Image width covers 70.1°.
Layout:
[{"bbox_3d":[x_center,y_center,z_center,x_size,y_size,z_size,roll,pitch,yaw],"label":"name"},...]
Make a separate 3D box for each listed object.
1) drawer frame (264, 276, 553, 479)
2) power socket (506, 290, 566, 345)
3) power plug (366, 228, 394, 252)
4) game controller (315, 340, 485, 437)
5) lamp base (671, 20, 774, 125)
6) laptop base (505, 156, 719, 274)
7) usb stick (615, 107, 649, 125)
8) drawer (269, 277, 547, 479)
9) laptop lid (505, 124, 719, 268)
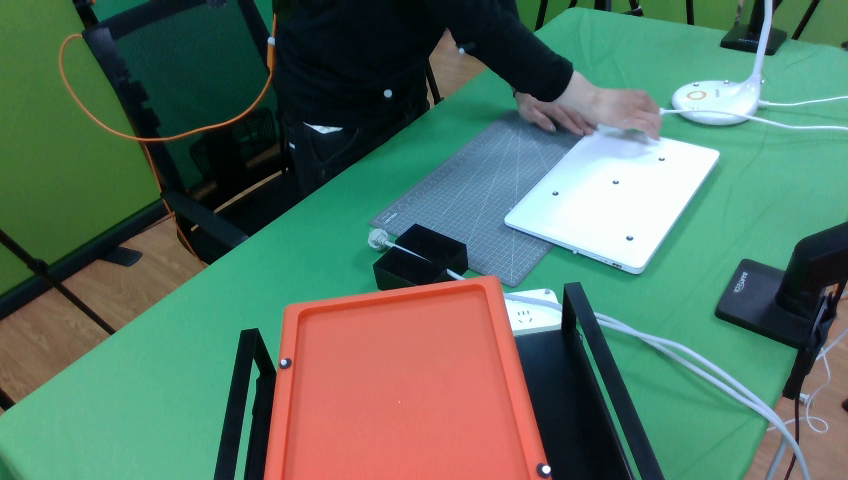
[{"bbox_3d":[-0.016,0.137,0.490,0.202,0.083,0.212,-8,41,-2],"label":"drawer frame"},{"bbox_3d":[0.081,0.112,0.822,0.227,0.033,0.072,-7,41,0],"label":"power socket"},{"bbox_3d":[-0.067,0.009,0.954,0.035,0.053,0.072,-38,51,1],"label":"power plug"},{"bbox_3d":[-0.021,0.120,0.533,0.155,0.052,0.096,-3,38,0],"label":"game controller"},{"bbox_3d":[0.581,-0.332,1.154,0.179,0.181,0.160,2,41,7],"label":"lamp base"},{"bbox_3d":[0.326,-0.083,1.028,0.233,0.023,0.355,21,48,32],"label":"laptop base"},{"bbox_3d":[0.395,-0.234,1.150,0.059,0.027,0.021,-7,68,9],"label":"usb stick"},{"bbox_3d":[-0.018,0.137,0.493,0.195,0.073,0.210,-7,41,-1],"label":"drawer"},{"bbox_3d":[0.323,-0.093,1.021,0.240,0.013,0.358,23,49,32],"label":"laptop lid"}]
